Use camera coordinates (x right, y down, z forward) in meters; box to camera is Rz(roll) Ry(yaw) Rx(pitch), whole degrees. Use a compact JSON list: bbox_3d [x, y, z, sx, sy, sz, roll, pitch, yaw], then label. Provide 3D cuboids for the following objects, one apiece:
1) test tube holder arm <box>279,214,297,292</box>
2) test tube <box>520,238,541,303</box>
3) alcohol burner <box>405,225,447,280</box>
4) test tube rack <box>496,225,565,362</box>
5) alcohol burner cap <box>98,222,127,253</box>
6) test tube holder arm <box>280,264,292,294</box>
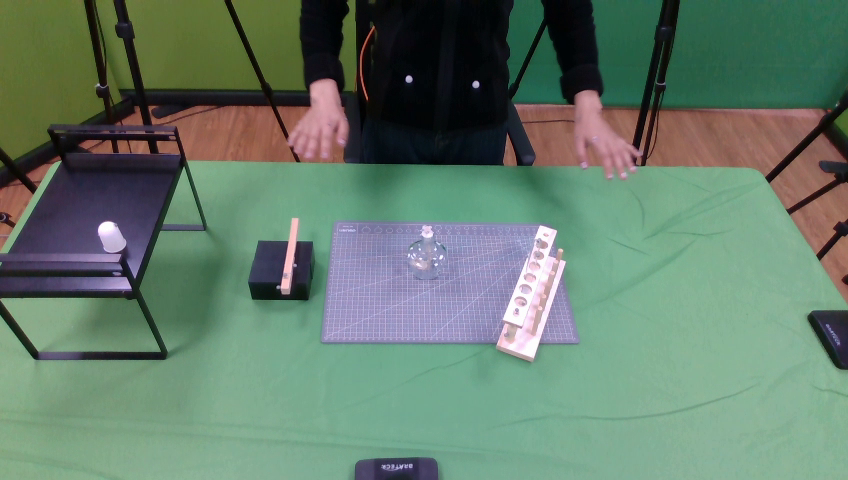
[{"bbox_3d":[-0.242,0.019,1.087,0.015,0.013,0.177,8,49,-12],"label":"test tube holder arm"},{"bbox_3d":[0.182,0.056,1.042,0.017,0.151,0.017,1,44,-1],"label":"test tube"},{"bbox_3d":[0.004,0.017,1.115,0.078,0.120,0.077,1,47,-1],"label":"alcohol burner"},{"bbox_3d":[0.200,0.089,1.081,0.066,0.085,0.241,19,48,13],"label":"test tube rack"},{"bbox_3d":[-0.468,-0.007,0.905,0.034,0.048,0.033,3,46,-3],"label":"alcohol burner cap"},{"bbox_3d":[-0.241,0.057,1.062,0.015,0.010,0.087,8,49,-12],"label":"test tube holder arm"}]
